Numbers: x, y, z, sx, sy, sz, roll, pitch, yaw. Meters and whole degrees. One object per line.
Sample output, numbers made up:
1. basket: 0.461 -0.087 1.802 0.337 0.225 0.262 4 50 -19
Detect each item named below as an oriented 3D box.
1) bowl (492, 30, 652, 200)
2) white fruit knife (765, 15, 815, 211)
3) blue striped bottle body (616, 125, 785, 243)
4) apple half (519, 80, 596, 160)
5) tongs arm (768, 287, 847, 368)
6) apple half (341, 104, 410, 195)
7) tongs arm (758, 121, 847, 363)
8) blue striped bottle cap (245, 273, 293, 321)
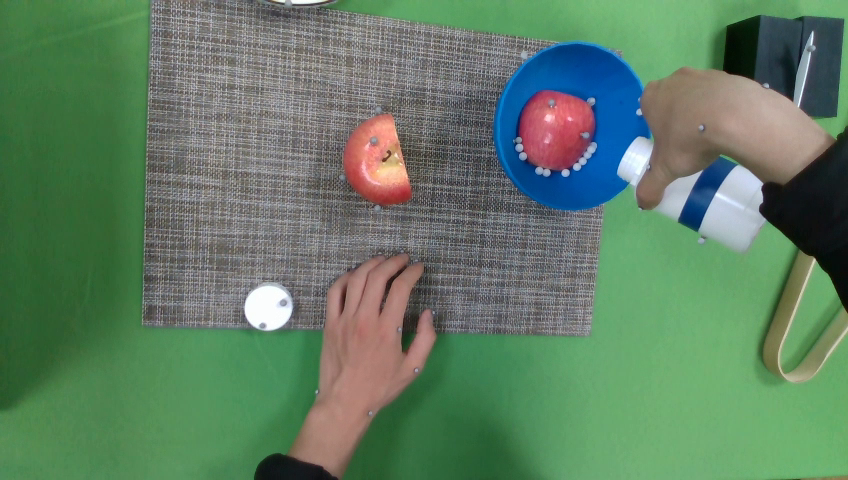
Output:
1. bowl: 0.129 -0.115 0.579 0.152 0.076 0.151 -2 98 -11
2. white fruit knife: 0.380 -0.124 0.632 0.016 0.027 0.209 0 115 5
3. blue striped bottle body: 0.223 -0.052 0.502 0.120 0.063 0.063 32 90 22
4. apple half: 0.131 -0.113 0.575 0.081 0.032 0.081 -1 97 -11
5. tongs arm: 0.536 -0.005 0.711 0.051 0.026 0.384 33 91 -13
6. apple half: -0.048 -0.078 0.548 0.053 0.074 0.081 -15 104 -6
7. tongs arm: 0.465 -0.044 0.694 0.028 0.027 0.387 19 94 -16
8. blue striped bottle cap: -0.147 0.054 0.575 0.045 0.020 0.044 -2 98 -14
